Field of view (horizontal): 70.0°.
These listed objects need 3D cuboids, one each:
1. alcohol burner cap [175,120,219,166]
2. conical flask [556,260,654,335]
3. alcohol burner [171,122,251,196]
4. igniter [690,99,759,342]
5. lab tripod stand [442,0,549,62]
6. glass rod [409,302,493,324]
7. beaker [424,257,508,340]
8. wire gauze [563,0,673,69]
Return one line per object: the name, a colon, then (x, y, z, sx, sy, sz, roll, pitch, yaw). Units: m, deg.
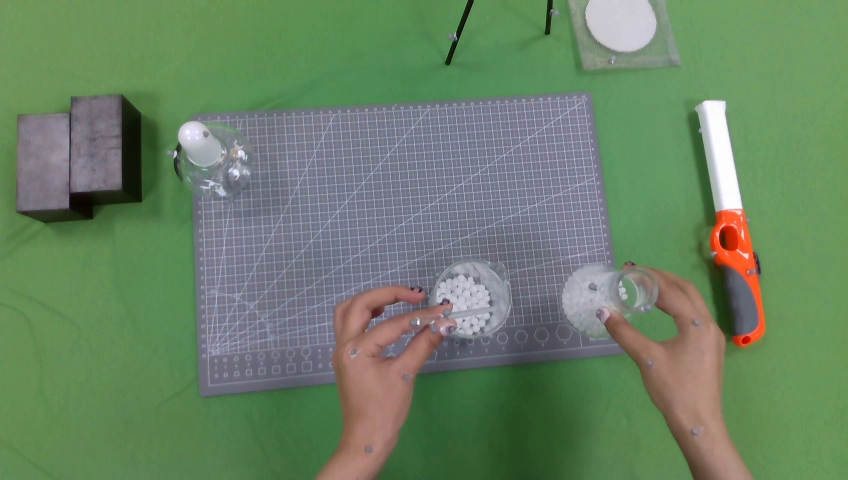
alcohol burner cap: (-0.213, -0.093, 0.563, 0.034, 0.048, 0.033, 2, 73, -5)
conical flask: (0.170, 0.048, 0.556, 0.075, 0.122, 0.075, 0, 80, -1)
alcohol burner: (-0.215, -0.085, 0.598, 0.078, 0.119, 0.077, 0, 81, -2)
igniter: (0.337, -0.025, 0.681, 0.057, 0.025, 0.275, -3, 81, -16)
lab tripod stand: (0.075, -0.269, 0.646, 0.148, 0.131, 0.148, 1, 82, -5)
glass rod: (0.030, 0.063, 0.530, 0.008, 0.201, 0.008, -1, 87, 23)
beaker: (0.040, 0.058, 0.604, 0.074, 0.100, 0.084, 42, 79, 3)
wire gauze: (0.230, -0.261, 0.721, 0.125, 0.011, 0.121, -6, 81, -7)
